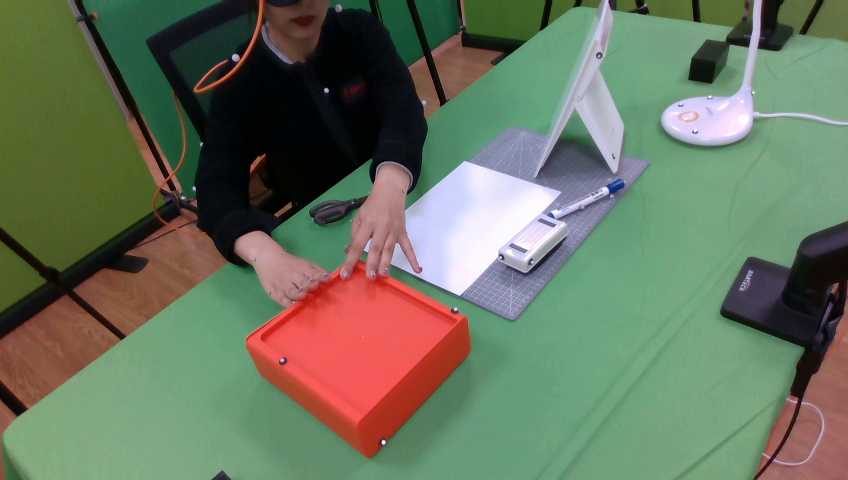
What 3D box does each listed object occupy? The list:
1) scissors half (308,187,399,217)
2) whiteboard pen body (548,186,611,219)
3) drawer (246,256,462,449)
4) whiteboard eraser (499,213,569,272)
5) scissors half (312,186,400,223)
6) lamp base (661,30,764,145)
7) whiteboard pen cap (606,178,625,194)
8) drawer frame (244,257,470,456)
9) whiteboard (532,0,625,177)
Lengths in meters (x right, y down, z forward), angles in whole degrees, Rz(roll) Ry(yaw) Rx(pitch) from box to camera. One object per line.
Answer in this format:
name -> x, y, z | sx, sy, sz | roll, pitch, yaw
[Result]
scissors half -> -0.127, -0.074, 1.104 | 0.176, 0.013, 0.039 | -16, 27, -10
whiteboard pen body -> 0.267, -0.066, 1.004 | 0.141, 0.017, 0.017 | -25, 43, -13
drawer -> -0.088, 0.136, 0.793 | 0.210, 0.073, 0.195 | 27, 51, 34
whiteboard eraser -> 0.168, 0.006, 0.923 | 0.055, 0.042, 0.113 | 29, 53, 34
scissors half -> -0.119, -0.066, 1.088 | 0.176, 0.013, 0.040 | -25, 35, -24
lamp base -> 0.535, -0.287, 1.096 | 0.179, 0.181, 0.159 | -10, 40, -4
whiteboard pen cap -> 0.320, -0.090, 1.016 | 0.033, 0.018, 0.018 | -27, 43, -13
drawer frame -> -0.084, 0.138, 0.788 | 0.212, 0.083, 0.202 | 25, 50, 33
whiteboard -> 0.320, -0.259, 1.050 | 0.144, 0.306, 0.217 | 21, 45, 5
